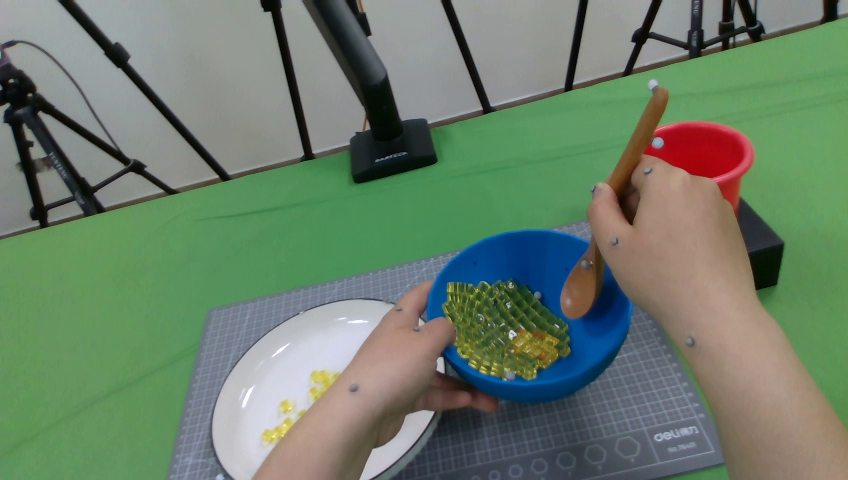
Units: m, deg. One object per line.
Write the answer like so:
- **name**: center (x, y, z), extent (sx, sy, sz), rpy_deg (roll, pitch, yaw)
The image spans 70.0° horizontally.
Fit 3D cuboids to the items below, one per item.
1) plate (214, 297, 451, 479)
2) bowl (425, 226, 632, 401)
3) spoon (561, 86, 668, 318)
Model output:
- **plate**: center (-0.076, 0.136, 0.530), extent (0.207, 0.039, 0.205), rpy_deg (-10, 39, 8)
- **bowl**: center (0.081, 0.068, 0.469), extent (0.151, 0.077, 0.150), rpy_deg (-8, 43, 8)
- **spoon**: center (0.120, -0.014, 0.399), extent (0.021, 0.195, 0.041), rpy_deg (0, 47, -3)
